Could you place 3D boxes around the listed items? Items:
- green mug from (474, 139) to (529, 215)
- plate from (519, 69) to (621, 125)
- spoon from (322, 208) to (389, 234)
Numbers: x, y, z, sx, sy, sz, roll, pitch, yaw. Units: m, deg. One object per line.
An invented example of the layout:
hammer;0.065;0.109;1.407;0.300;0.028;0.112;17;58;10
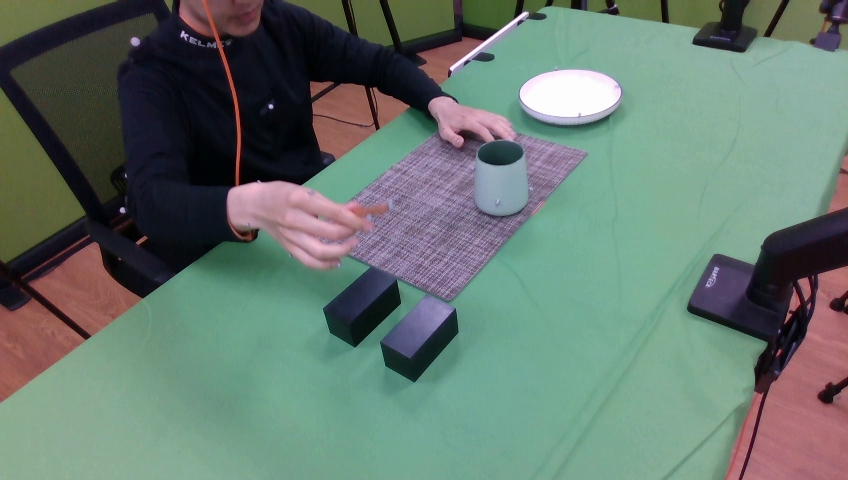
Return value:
green mug;0.126;-0.113;1.013;0.092;0.105;0.124;-8;41;0
plate;0.300;-0.293;1.253;0.209;0.038;0.208;-4;41;4
spoon;-0.084;-0.025;0.727;0.042;0.021;0.192;-14;0;-25
